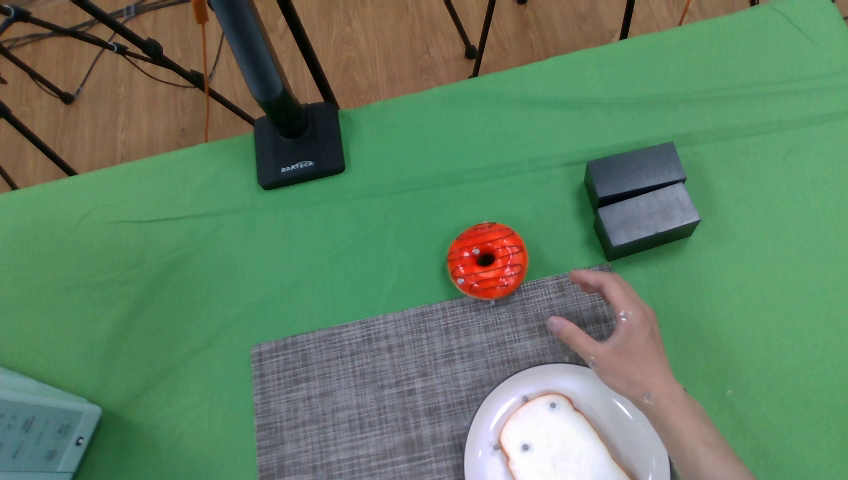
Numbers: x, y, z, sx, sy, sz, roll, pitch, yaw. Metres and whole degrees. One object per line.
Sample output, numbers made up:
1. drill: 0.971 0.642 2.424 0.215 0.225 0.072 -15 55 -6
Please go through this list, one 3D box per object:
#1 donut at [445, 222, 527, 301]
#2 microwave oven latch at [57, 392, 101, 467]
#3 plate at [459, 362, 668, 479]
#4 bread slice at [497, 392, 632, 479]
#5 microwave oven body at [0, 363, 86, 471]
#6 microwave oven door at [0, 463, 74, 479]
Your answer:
1. donut: 0.074 0.025 0.721 0.099 0.048 0.098 -5 66 12
2. microwave oven latch: -0.414 0.224 0.716 0.030 0.030 0.079 16 74 15
3. plate: 0.142 0.234 0.630 0.207 0.039 0.206 -3 69 9
4. bread slice: 0.138 0.228 0.634 0.105 0.019 0.130 -33 68 -4
5. microwave oven body: -0.624 0.315 0.613 0.325 0.262 0.439 14 73 14
6. microwave oven door: -0.501 0.385 0.559 0.039 0.246 0.354 14 72 15
